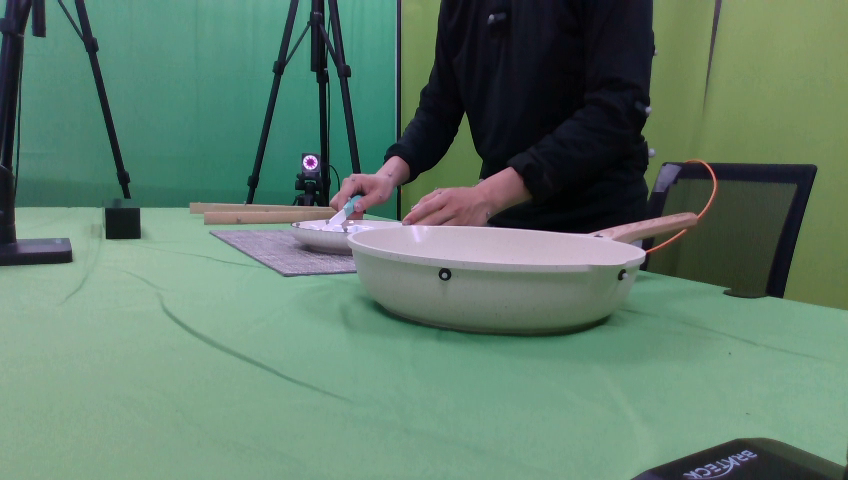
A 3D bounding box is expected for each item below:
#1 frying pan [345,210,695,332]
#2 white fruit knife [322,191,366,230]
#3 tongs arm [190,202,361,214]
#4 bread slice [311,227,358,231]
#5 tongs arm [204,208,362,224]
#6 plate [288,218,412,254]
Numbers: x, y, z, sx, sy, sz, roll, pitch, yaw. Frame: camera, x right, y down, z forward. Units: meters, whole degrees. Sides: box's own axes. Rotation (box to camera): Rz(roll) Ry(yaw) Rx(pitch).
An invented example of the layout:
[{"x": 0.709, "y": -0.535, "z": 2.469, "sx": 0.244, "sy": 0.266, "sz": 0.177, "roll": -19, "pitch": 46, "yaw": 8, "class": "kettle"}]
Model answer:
[{"x": 0.153, "y": 0.009, "z": 0.668, "sx": 0.490, "sy": 0.102, "sz": 0.305, "roll": -12, "pitch": 15, "yaw": -32, "class": "frying pan"}, {"x": -0.132, "y": -0.048, "z": 1.005, "sx": 0.016, "sy": 0.027, "sz": 0.207, "roll": 4, "pitch": 19, "yaw": 11, "class": "white fruit knife"}, {"x": -0.333, "y": -0.068, "z": 1.403, "sx": 0.387, "sy": 0.026, "sz": 0.050, "roll": 0, "pitch": 9, "yaw": -27, "class": "tongs arm"}, {"x": -0.115, "y": -0.006, "z": 0.950, "sx": 0.134, "sy": 0.018, "sz": 0.107, "roll": 3, "pitch": 6, "yaw": -7, "class": "bread slice"}, {"x": -0.292, "y": -0.054, "z": 1.337, "sx": 0.390, "sy": 0.028, "sz": 0.028, "roll": -4, "pitch": 7, "yaw": -40, "class": "tongs arm"}, {"x": -0.109, "y": -0.007, "z": 0.956, "sx": 0.208, "sy": 0.039, "sz": 0.207, "roll": 2, "pitch": 7, "yaw": 0, "class": "plate"}]
